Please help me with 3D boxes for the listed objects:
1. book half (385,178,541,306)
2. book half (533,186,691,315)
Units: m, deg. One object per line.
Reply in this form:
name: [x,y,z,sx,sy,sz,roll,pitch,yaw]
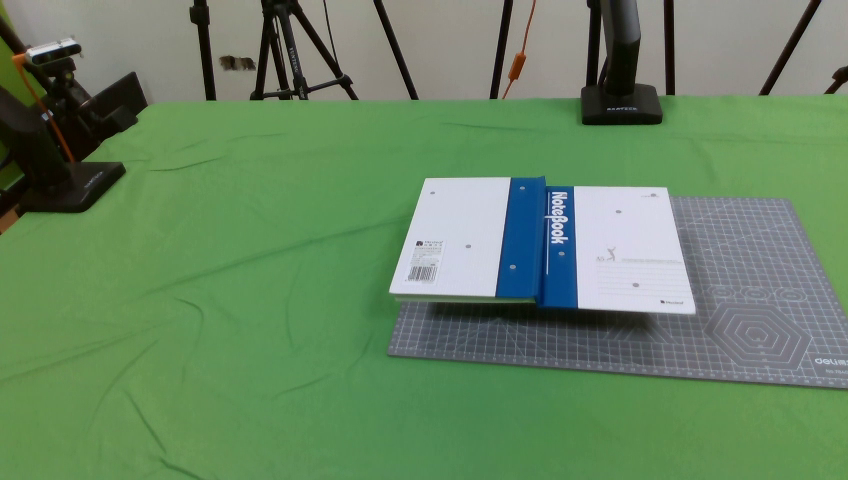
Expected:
book half: [0.051,-0.007,0.665,0.148,0.016,0.208,1,39,12]
book half: [0.192,0.002,0.643,0.143,0.007,0.208,2,38,11]
